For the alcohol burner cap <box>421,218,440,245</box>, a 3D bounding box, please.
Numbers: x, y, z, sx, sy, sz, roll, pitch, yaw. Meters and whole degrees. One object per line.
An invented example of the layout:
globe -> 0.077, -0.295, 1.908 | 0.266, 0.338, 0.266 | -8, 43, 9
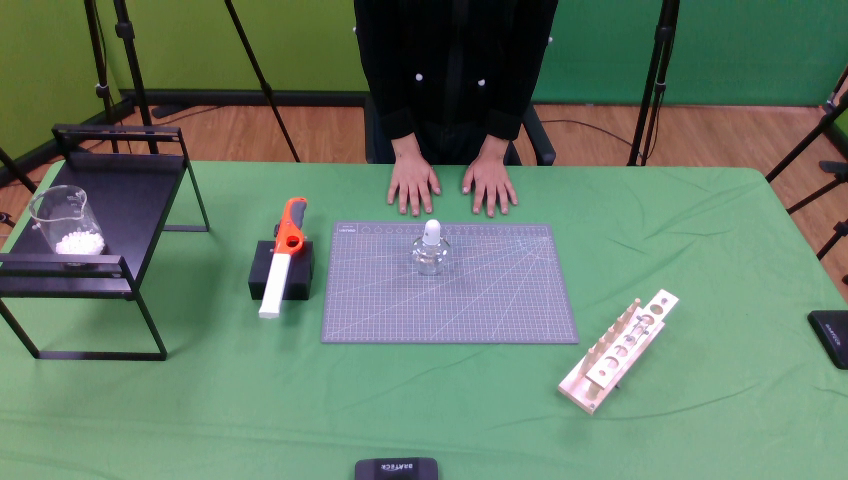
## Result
alcohol burner cap -> 0.014, -0.018, 1.095 | 0.034, 0.048, 0.033 | 5, 44, -5

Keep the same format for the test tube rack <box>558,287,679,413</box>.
test tube rack -> 0.326, 0.170, 1.009 | 0.066, 0.085, 0.242 | 36, 54, 27

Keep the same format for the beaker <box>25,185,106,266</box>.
beaker -> -0.507, -0.017, 0.872 | 0.084, 0.101, 0.074 | 23, 49, 17

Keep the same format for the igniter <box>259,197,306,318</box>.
igniter -> -0.252, 0.021, 1.088 | 0.057, 0.025, 0.275 | 4, 48, -2

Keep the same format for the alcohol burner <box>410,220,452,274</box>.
alcohol burner -> 0.013, 0.007, 1.120 | 0.078, 0.120, 0.077 | 1, 48, -1

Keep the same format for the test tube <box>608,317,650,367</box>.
test tube -> 0.314, 0.168, 0.942 | 0.017, 0.151, 0.017 | 5, 48, -5
